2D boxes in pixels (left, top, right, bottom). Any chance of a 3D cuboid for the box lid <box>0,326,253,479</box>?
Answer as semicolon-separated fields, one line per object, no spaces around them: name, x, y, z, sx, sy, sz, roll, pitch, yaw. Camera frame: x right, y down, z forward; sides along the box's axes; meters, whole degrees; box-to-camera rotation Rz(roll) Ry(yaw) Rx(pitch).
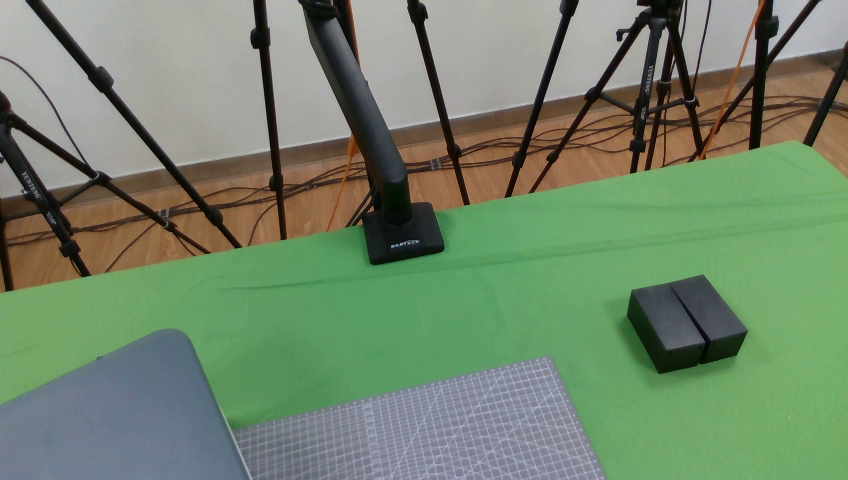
box lid;-0.353;0.235;0.532;0.372;0.015;0.260;-26;47;-20

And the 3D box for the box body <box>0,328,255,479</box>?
box body;-0.349;0.289;0.584;0.364;0.162;0.251;-26;48;-19
